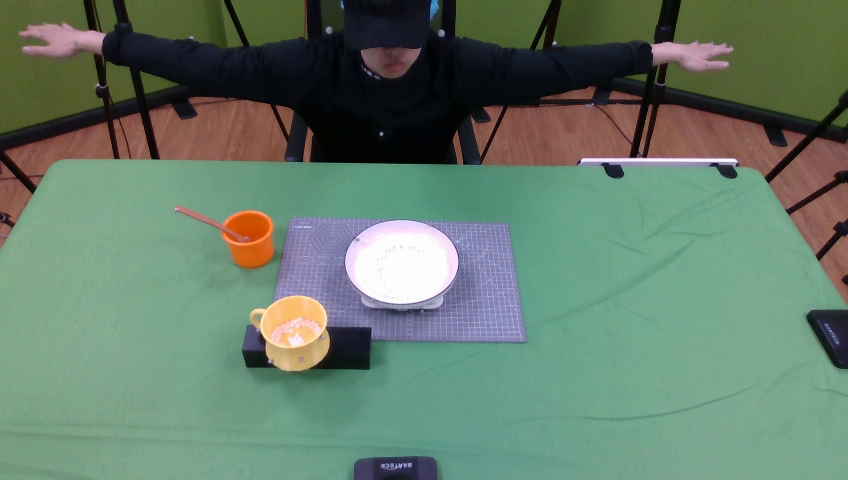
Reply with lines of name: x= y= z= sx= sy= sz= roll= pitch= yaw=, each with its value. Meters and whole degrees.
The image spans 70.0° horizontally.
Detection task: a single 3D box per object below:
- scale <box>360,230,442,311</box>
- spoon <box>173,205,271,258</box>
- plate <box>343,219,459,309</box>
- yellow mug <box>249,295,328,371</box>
scale: x=-0.042 y=0.047 z=1.138 sx=0.149 sy=0.032 sz=0.199 roll=2 pitch=46 yaw=-3
spoon: x=-0.362 y=-0.017 z=1.098 sx=0.021 sy=0.195 sz=0.041 roll=-32 pitch=42 yaw=27
plate: x=-0.041 y=0.045 z=1.094 sx=0.209 sy=0.038 sz=0.208 roll=2 pitch=46 yaw=-2
yellow mug: x=-0.216 y=0.139 z=0.946 sx=0.130 sy=0.064 sz=0.099 roll=17 pitch=47 yaw=12
